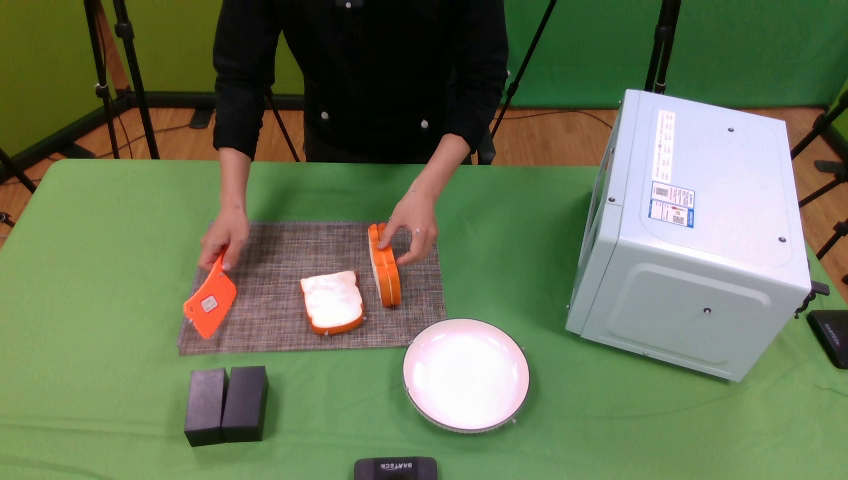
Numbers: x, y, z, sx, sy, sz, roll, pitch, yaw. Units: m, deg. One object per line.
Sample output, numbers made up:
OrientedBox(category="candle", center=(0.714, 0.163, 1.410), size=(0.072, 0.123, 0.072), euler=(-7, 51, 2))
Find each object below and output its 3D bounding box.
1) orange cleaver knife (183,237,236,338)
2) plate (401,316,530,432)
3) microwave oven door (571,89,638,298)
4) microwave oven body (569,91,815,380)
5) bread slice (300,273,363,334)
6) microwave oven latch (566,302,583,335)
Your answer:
OrientedBox(category="orange cleaver knife", center=(-0.357, 0.078, 1.053), size=(0.012, 0.077, 0.210), euler=(-23, 33, 22))
OrientedBox(category="plate", center=(0.066, 0.217, 0.982), size=(0.208, 0.039, 0.206), euler=(2, 46, -2))
OrientedBox(category="microwave oven door", center=(0.343, -0.091, 1.132), size=(0.039, 0.245, 0.354), euler=(15, 47, 10))
OrientedBox(category="microwave oven body", center=(0.468, -0.022, 1.082), size=(0.325, 0.261, 0.440), euler=(15, 46, 11))
OrientedBox(category="bread slice", center=(-0.164, 0.113, 1.076), size=(0.107, 0.018, 0.133), euler=(-11, 39, -7))
OrientedBox(category="microwave oven latch", center=(0.268, 0.126, 1.059), size=(0.030, 0.029, 0.079), euler=(16, 46, 12))
